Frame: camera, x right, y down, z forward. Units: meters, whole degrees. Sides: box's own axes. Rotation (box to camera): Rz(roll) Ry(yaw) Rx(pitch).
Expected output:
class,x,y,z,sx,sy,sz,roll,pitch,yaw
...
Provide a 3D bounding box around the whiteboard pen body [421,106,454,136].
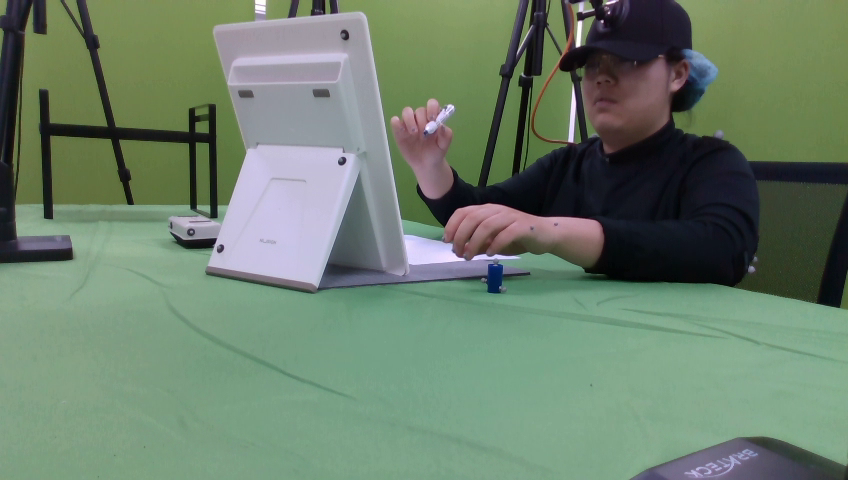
class,x,y,z,sx,sy,sz,roll,pitch,yaw
whiteboard pen body,0.020,-0.179,0.915,0.017,0.017,0.141,5,28,18

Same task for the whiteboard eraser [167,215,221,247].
class,x,y,z,sx,sy,sz,roll,pitch,yaw
whiteboard eraser,-0.350,-0.014,0.920,0.056,0.042,0.112,0,7,-35

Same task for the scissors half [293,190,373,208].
class,x,y,z,sx,sy,sz,roll,pitch,yaw
scissors half,-0.201,-0.096,1.333,0.175,0.040,0.013,5,18,-4

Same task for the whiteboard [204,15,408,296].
class,x,y,z,sx,sy,sz,roll,pitch,yaw
whiteboard,-0.166,-0.072,0.669,0.216,0.305,0.144,8,30,30

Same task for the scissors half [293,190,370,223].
class,x,y,z,sx,sy,sz,roll,pitch,yaw
scissors half,-0.205,-0.077,1.338,0.175,0.040,0.013,22,11,-8

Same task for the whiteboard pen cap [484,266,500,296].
class,x,y,z,sx,sy,sz,roll,pitch,yaw
whiteboard pen cap,0.075,0.046,0.668,0.018,0.033,0.018,3,5,0
